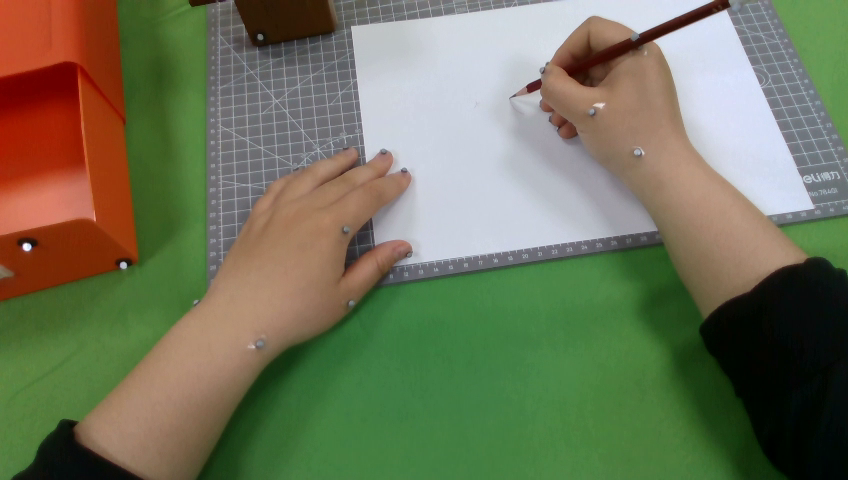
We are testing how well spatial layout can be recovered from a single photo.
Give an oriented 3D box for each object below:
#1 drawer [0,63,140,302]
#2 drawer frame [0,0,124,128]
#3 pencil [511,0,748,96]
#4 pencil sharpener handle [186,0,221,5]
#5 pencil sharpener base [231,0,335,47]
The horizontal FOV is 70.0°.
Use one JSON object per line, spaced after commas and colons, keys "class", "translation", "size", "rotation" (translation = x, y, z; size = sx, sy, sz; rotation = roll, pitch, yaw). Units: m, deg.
{"class": "drawer", "translation": [-0.310, -0.059, 0.405], "size": [0.194, 0.074, 0.210], "rotation": [-16, 67, -5]}
{"class": "drawer frame", "translation": [-0.343, -0.162, 0.449], "size": [0.202, 0.083, 0.211], "rotation": [-16, 66, -4]}
{"class": "pencil", "translation": [0.122, -0.120, 0.374], "size": [0.012, 0.193, 0.012], "rotation": [6, 79, -36]}
{"class": "pencil sharpener handle", "translation": [-0.164, -0.196, 0.429], "size": [0.030, 0.068, 0.035], "rotation": [-14, 64, -3]}
{"class": "pencil sharpener base", "translation": [-0.114, -0.204, 0.443], "size": [0.077, 0.108, 0.061], "rotation": [-14, 66, -3]}
